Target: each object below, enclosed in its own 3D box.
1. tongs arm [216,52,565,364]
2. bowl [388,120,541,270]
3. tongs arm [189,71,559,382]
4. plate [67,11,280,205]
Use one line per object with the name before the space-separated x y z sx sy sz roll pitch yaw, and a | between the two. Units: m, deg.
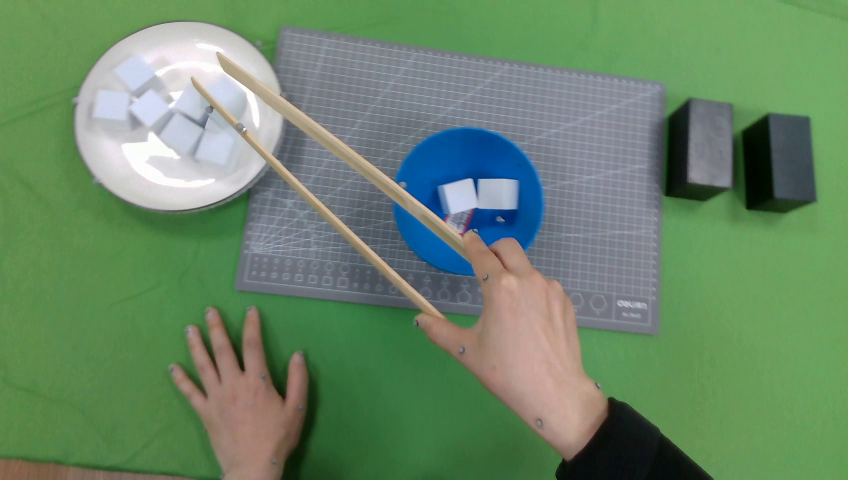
tongs arm | -0.038 -0.037 0.490 0.385 0.028 0.028 40 66 13
bowl | 0.036 -0.037 0.620 0.151 0.077 0.150 1 78 -6
tongs arm | -0.052 -0.023 0.483 0.051 0.027 0.382 -40 74 -19
plate | -0.253 -0.134 0.628 0.208 0.039 0.206 1 79 -5
